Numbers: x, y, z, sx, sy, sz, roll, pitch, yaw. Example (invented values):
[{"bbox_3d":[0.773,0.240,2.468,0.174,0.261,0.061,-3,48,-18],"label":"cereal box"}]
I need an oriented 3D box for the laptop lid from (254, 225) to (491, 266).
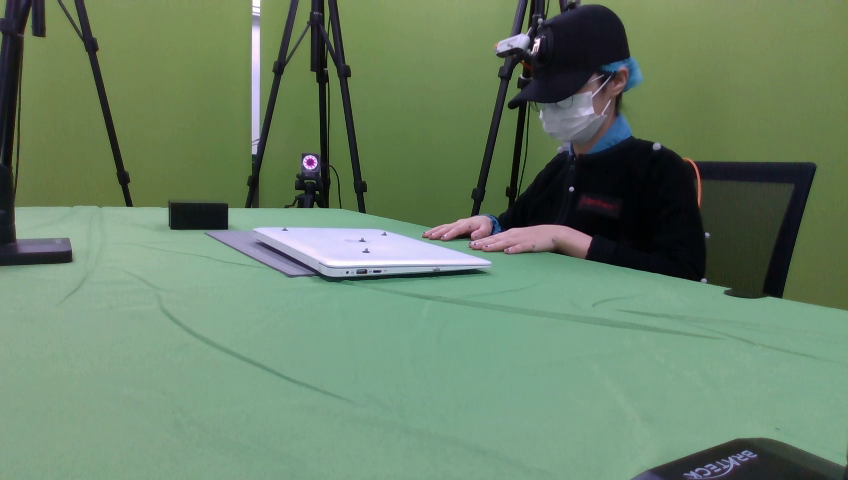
[{"bbox_3d":[-0.093,0.003,0.888,0.243,0.013,0.355,1,8,-28],"label":"laptop lid"}]

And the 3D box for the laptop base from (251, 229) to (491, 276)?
[{"bbox_3d":[-0.095,0.015,0.888,0.237,0.023,0.352,2,7,-30],"label":"laptop base"}]
